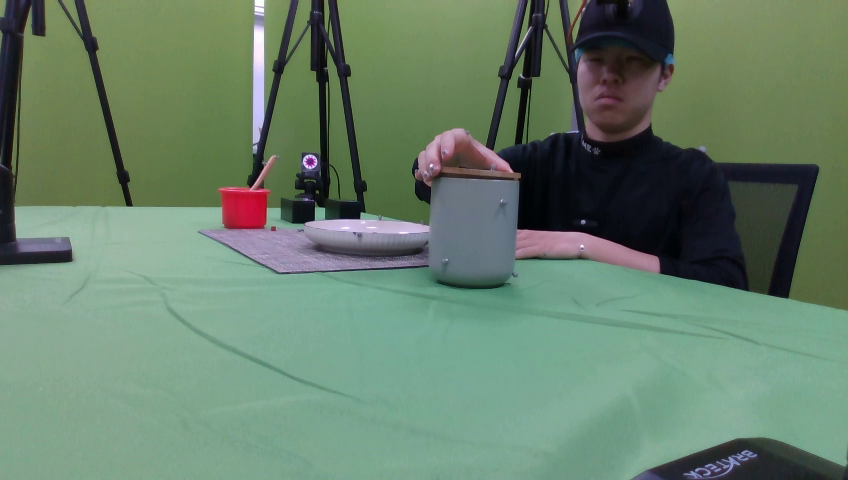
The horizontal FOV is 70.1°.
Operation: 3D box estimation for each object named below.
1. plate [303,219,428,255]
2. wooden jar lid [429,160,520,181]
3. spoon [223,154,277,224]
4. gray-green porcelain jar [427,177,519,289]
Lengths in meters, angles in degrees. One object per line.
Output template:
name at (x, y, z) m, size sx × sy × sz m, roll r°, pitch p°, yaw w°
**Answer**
plate at (-0.084, -0.005, 0.952) m, size 0.208 × 0.039 × 0.207 m, roll 3°, pitch 7°, yaw 0°
wooden jar lid at (0.058, -0.076, 0.714) m, size 0.108 × 0.020 × 0.108 m, roll 10°, pitch 8°, yaw -1°
spoon at (-0.345, -0.106, 1.214) m, size 0.041 × 0.022 × 0.194 m, roll 2°, pitch 45°, yaw 26°
gray-green porcelain jar at (0.057, -0.010, 0.722) m, size 0.106 × 0.126 × 0.106 m, roll 2°, pitch 7°, yaw 0°
